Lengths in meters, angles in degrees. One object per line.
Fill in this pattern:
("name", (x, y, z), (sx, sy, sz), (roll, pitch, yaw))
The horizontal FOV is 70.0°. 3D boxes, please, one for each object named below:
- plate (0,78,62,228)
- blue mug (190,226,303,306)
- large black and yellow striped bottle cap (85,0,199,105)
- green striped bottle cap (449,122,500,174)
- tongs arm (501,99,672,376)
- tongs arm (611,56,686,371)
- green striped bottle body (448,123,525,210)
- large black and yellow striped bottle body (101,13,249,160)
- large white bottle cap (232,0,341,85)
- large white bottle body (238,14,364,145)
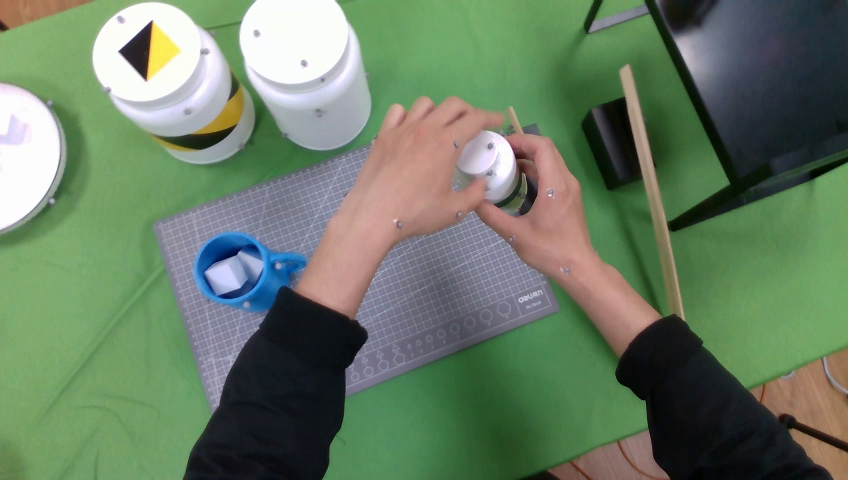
("plate", (-0.572, -0.109, 0.789), (0.208, 0.039, 0.207), (0, 80, 0))
("blue mug", (-0.204, 0.030, 0.727), (0.116, 0.106, 0.082), (-14, 79, -3))
("large black and yellow striped bottle cap", (-0.301, -0.201, 0.646), (0.115, 0.019, 0.114), (0, 80, -1))
("green striped bottle cap", (0.045, -0.083, 0.547), (0.044, 0.020, 0.044), (-4, 77, 17))
("tongs arm", (0.197, -0.003, 0.735), (0.051, 0.026, 0.385), (-26, 93, -7))
("tongs arm", (0.273, -0.032, 0.743), (0.028, 0.027, 0.387), (-12, 92, -11))
("green striped bottle body", (0.062, -0.073, 0.597), (0.063, 0.120, 0.063), (-3, 78, 16))
("large black and yellow striped bottle body", (-0.299, -0.184, 0.728), (0.131, 0.184, 0.130), (0, 79, 0))
("large white bottle cap", (-0.147, -0.222, 0.649), (0.115, 0.018, 0.114), (0, 79, 0))
("large white bottle body", (-0.145, -0.205, 0.732), (0.130, 0.185, 0.130), (0, 79, 0))
